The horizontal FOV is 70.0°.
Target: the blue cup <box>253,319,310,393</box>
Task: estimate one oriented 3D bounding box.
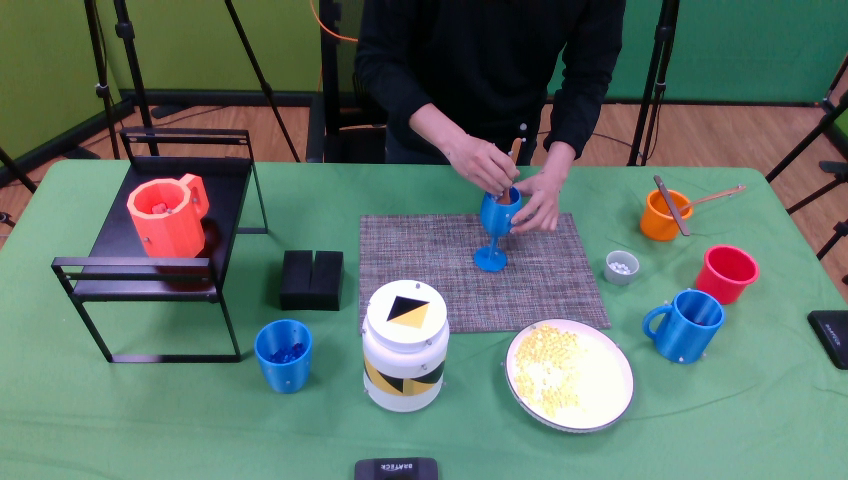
[{"bbox_3d":[-0.217,0.187,0.943,0.093,0.101,0.092,4,45,-3],"label":"blue cup"}]

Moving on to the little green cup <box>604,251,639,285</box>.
[{"bbox_3d":[0.375,0.055,1.161,0.061,0.039,0.061,3,46,-2],"label":"little green cup"}]

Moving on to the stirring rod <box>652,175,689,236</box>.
[{"bbox_3d":[0.491,-0.072,1.212,0.014,0.006,0.175,-1,47,-5],"label":"stirring rod"}]

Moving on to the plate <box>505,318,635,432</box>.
[{"bbox_3d":[0.235,0.221,0.991,0.209,0.038,0.208,2,45,-2],"label":"plate"}]

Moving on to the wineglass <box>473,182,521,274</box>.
[{"bbox_3d":[0.133,-0.022,1.117,0.074,0.173,0.073,3,46,-2],"label":"wineglass"}]

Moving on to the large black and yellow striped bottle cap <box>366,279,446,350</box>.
[{"bbox_3d":[-0.025,0.104,0.864,0.115,0.019,0.114,3,48,-3],"label":"large black and yellow striped bottle cap"}]

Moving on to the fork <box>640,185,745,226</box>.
[{"bbox_3d":[0.534,-0.069,1.215,0.207,0.019,0.028,-26,27,33],"label":"fork"}]

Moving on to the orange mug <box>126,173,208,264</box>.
[{"bbox_3d":[-0.371,-0.040,0.902,0.083,0.101,0.126,18,52,13],"label":"orange mug"}]

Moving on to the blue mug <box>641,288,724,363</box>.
[{"bbox_3d":[0.432,0.144,1.033,0.116,0.106,0.082,8,46,5],"label":"blue mug"}]

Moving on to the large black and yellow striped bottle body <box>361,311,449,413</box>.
[{"bbox_3d":[-0.031,0.163,0.924,0.131,0.185,0.130,2,46,-2],"label":"large black and yellow striped bottle body"}]

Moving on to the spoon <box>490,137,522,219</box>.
[{"bbox_3d":[0.144,-0.102,1.043,0.041,0.194,0.021,9,45,4],"label":"spoon"}]
